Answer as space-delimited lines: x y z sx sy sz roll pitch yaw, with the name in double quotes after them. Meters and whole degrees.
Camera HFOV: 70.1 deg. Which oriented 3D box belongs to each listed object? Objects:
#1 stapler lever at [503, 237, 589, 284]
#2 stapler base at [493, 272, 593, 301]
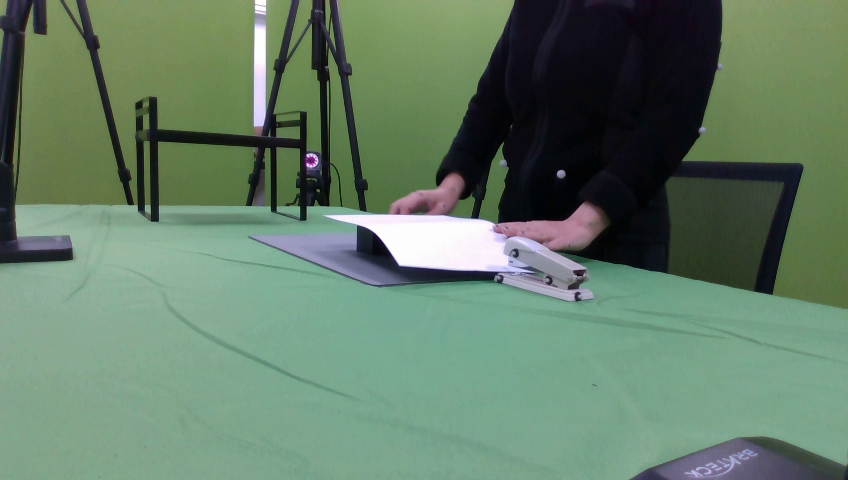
0.137 0.022 0.693 0.027 0.040 0.117 -2 9 -35 "stapler lever"
0.133 0.046 0.696 0.041 0.024 0.130 -2 9 -35 "stapler base"
